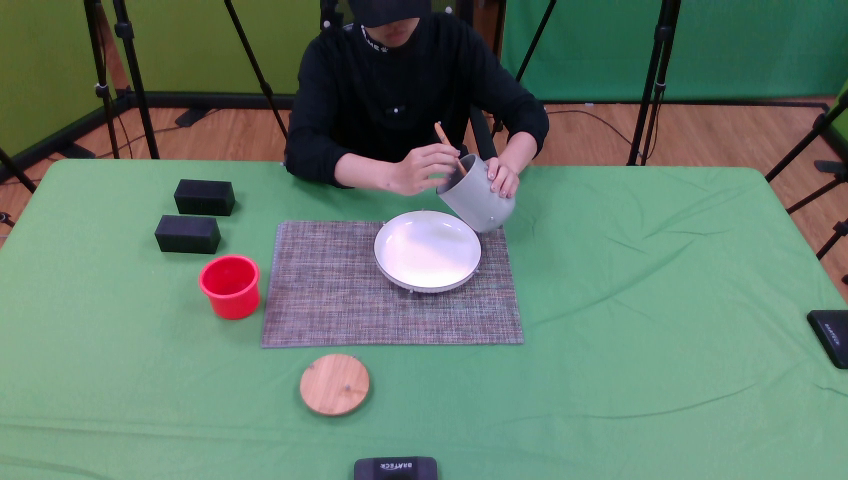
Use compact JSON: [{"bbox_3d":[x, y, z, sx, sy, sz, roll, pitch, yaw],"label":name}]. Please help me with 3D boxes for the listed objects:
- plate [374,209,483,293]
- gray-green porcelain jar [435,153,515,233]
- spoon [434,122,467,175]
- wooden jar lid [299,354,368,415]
[{"bbox_3d":[0.008,0.024,1.158,0.208,0.039,0.206,2,46,-2],"label":"plate"},{"bbox_3d":[0.101,-0.085,1.145,0.127,0.106,0.105,42,44,-20],"label":"gray-green porcelain jar"},{"bbox_3d":[0.071,-0.133,1.114,0.041,0.021,0.194,-36,93,-29],"label":"spoon"},{"bbox_3d":[-0.143,0.232,0.964,0.108,0.021,0.107,2,45,-2],"label":"wooden jar lid"}]
